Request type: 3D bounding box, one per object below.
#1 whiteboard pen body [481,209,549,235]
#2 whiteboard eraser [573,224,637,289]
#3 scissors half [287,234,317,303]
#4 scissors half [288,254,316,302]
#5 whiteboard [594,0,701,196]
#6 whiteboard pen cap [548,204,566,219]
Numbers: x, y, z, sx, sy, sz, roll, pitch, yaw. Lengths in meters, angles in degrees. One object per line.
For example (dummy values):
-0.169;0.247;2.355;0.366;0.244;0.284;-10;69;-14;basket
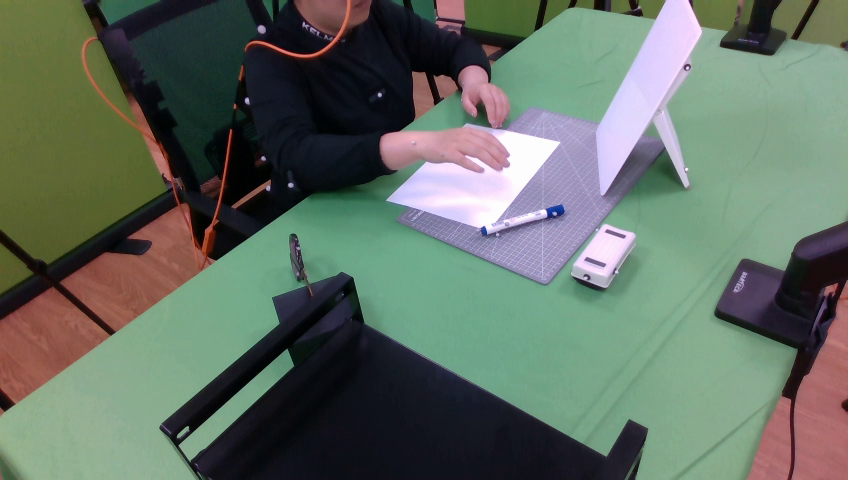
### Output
0.160;-0.032;0.985;0.141;0.017;0.017;-16;41;-12;whiteboard pen body
0.267;0.025;0.890;0.055;0.042;0.113;19;47;31;whiteboard eraser
-0.179;0.040;0.884;0.013;0.040;0.173;-11;37;-20;scissors half
-0.178;0.058;0.894;0.013;0.040;0.174;-16;21;-17;scissors half
0.420;-0.227;1.010;0.144;0.305;0.216;18;42;-2;whiteboard
0.216;-0.046;0.997;0.033;0.018;0.018;-19;41;-10;whiteboard pen cap
